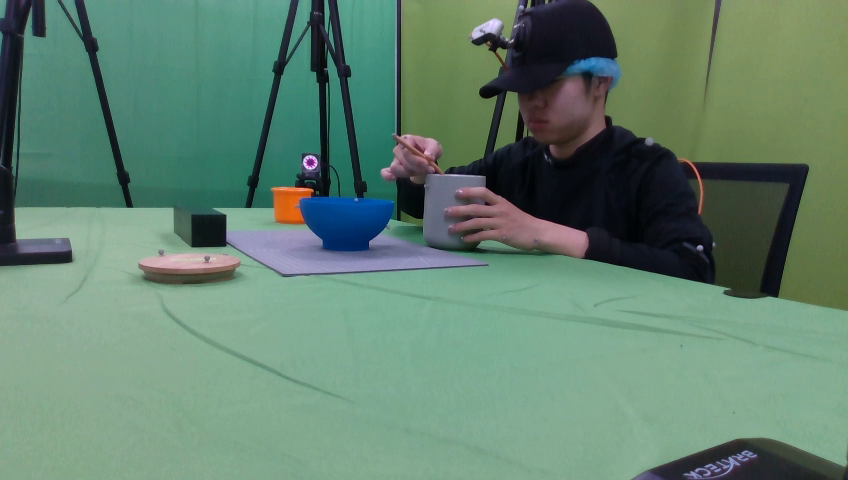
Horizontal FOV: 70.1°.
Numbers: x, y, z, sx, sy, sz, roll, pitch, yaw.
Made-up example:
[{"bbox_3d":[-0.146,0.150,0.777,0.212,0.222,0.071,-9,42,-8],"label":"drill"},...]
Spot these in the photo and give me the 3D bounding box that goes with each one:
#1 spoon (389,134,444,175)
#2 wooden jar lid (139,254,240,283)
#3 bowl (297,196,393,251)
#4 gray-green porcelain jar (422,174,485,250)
[{"bbox_3d":[0.018,-0.118,1.024,0.194,0.021,0.041,42,7,-15],"label":"spoon"},{"bbox_3d":[-0.269,0.032,0.697,0.108,0.020,0.108,2,5,0],"label":"wooden jar lid"},{"bbox_3d":[-0.125,-0.026,0.957,0.151,0.077,0.151,2,7,0],"label":"bowl"},{"bbox_3d":[0.050,-0.049,1.040,0.106,0.126,0.106,2,8,0],"label":"gray-green porcelain jar"}]
